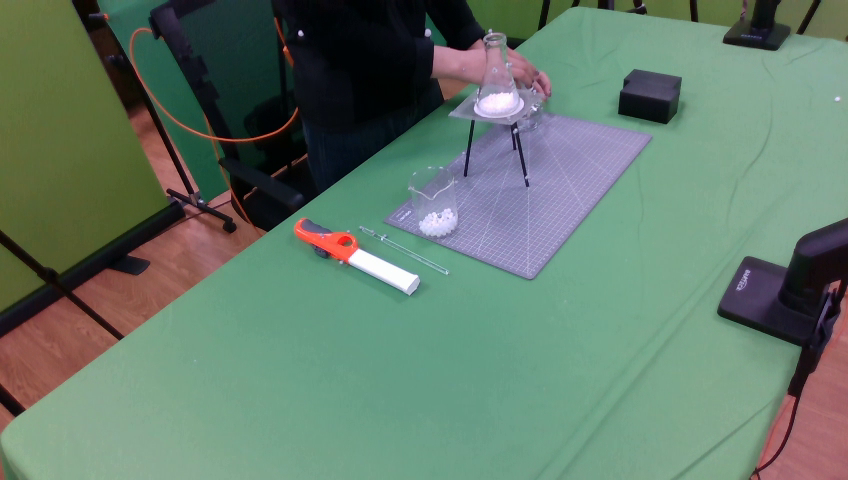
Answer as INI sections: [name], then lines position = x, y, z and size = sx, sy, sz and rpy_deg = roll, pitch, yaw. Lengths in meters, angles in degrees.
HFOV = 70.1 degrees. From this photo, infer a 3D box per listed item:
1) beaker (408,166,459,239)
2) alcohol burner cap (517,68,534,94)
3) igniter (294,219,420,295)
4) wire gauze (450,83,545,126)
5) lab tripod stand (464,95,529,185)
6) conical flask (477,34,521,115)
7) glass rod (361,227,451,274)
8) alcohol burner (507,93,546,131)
[beaker]
position = 0.018, -0.057, 0.984
size = 0.074, 0.101, 0.083
rpy_deg = -6, 41, 5
[alcohol burner cap]
position = 0.199, -0.310, 1.171
size = 0.034, 0.048, 0.033
rpy_deg = -2, 47, 3
[igniter]
position = -0.118, 0.022, 0.977
size = 0.274, 0.025, 0.057
rpy_deg = 24, 60, 34
[wire gauze]
position = 0.126, -0.232, 1.041
size = 0.120, 0.011, 0.125
rpy_deg = 17, 48, 31
[lab tripod stand]
position = 0.138, -0.182, 1.082
size = 0.148, 0.132, 0.147
rpy_deg = -6, 38, 5
[conical flask]
position = 0.121, -0.275, 0.999
size = 0.075, 0.122, 0.075
rpy_deg = -5, 40, 5
[glass rod]
position = -0.033, 0.014, 0.985
size = 0.198, 0.008, 0.008
rpy_deg = 25, 52, 34
[alcohol burner]
position = 0.203, -0.279, 1.199
size = 0.078, 0.119, 0.077
rpy_deg = -5, 42, 5
